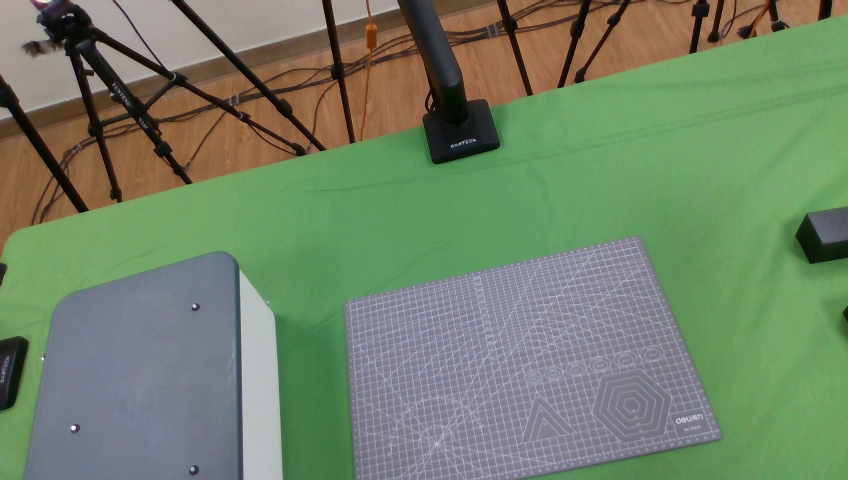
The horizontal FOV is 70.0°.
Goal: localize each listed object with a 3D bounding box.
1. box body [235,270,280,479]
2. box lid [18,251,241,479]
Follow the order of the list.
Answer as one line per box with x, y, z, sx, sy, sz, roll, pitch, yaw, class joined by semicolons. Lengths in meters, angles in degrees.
-0.331;0.231;0.777;0.254;0.162;0.360;-15;56;2;box body
-0.345;0.189;0.717;0.263;0.015;0.367;-16;57;3;box lid
